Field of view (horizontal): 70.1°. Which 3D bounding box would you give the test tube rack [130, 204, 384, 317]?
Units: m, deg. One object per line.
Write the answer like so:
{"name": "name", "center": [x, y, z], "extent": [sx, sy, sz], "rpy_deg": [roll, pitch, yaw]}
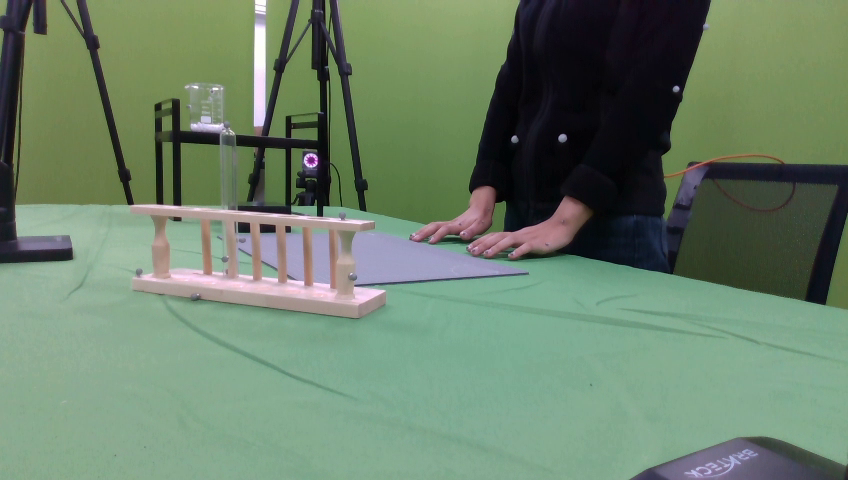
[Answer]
{"name": "test tube rack", "center": [-0.163, 0.013, 0.589], "extent": [0.242, 0.085, 0.067], "rpy_deg": [5, 8, 17]}

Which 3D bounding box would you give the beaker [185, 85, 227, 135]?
{"name": "beaker", "center": [-0.460, -0.275, 1.282], "extent": [0.084, 0.100, 0.073], "rpy_deg": [-3, 8, -27]}

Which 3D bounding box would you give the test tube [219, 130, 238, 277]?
{"name": "test tube", "center": [-0.198, -0.036, 0.613], "extent": [0.017, 0.150, 0.017], "rpy_deg": [2, 9, 0]}
